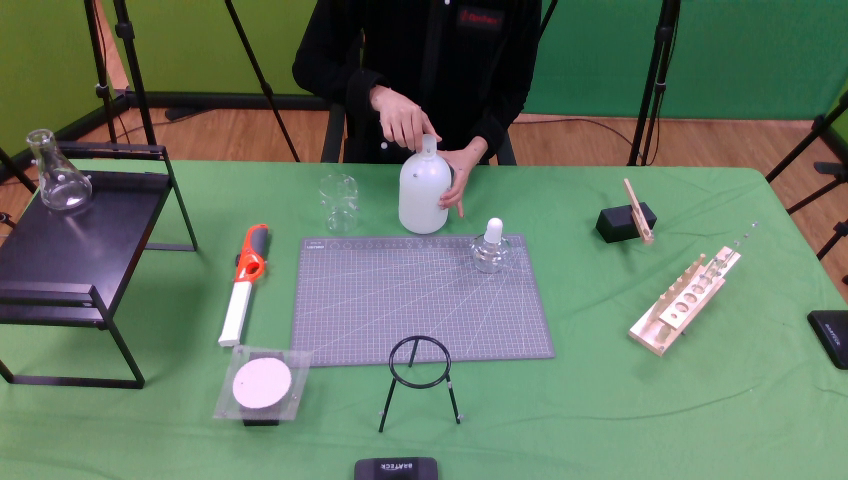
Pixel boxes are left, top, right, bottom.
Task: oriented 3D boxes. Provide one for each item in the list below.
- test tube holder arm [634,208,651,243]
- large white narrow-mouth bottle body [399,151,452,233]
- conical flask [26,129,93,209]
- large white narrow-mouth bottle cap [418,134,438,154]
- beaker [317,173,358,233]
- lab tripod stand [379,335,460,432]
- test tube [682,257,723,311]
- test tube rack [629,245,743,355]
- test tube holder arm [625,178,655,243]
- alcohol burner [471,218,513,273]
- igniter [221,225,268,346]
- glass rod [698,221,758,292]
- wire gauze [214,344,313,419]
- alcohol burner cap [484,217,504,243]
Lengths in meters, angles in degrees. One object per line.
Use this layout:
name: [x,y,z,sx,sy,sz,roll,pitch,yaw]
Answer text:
test tube holder arm: [0.428,-0.030,1.189,0.010,0.015,0.087,1,47,-2]
large white narrow-mouth bottle body: [0.003,-0.110,1.183,0.102,0.195,0.101,2,47,-2]
conical flask: [-0.575,-0.113,0.946,0.075,0.122,0.075,2,46,-2]
large white narrow-mouth bottle cap: [0.007,-0.176,1.112,0.038,0.024,0.037,2,47,-2]
beaker: [-0.166,-0.070,1.198,0.083,0.101,0.074,25,50,18]
lab tripod stand: [-0.011,0.214,0.911,0.148,0.132,0.147,1,45,0]
test tube: [0.475,0.080,1.037,0.017,0.151,0.017,1,50,-1]
test tube rack: [0.474,0.095,1.091,0.242,0.085,0.066,-34,56,-31]
test tube holder arm: [0.433,-0.062,1.220,0.013,0.015,0.177,1,47,-3]
alcohol burner: [0.128,0.005,1.132,0.078,0.120,0.077,0,47,0]
igniter: [-0.323,0.072,1.100,0.057,0.025,0.274,-6,45,5]
glass rod: [0.527,0.035,1.060,0.008,0.200,0.008,5,49,-6]
wire gauze: [-0.241,0.213,0.916,0.121,0.011,0.124,5,46,1]
alcohol burner cap: [0.130,-0.021,1.107,0.034,0.048,0.033,4,40,-3]
